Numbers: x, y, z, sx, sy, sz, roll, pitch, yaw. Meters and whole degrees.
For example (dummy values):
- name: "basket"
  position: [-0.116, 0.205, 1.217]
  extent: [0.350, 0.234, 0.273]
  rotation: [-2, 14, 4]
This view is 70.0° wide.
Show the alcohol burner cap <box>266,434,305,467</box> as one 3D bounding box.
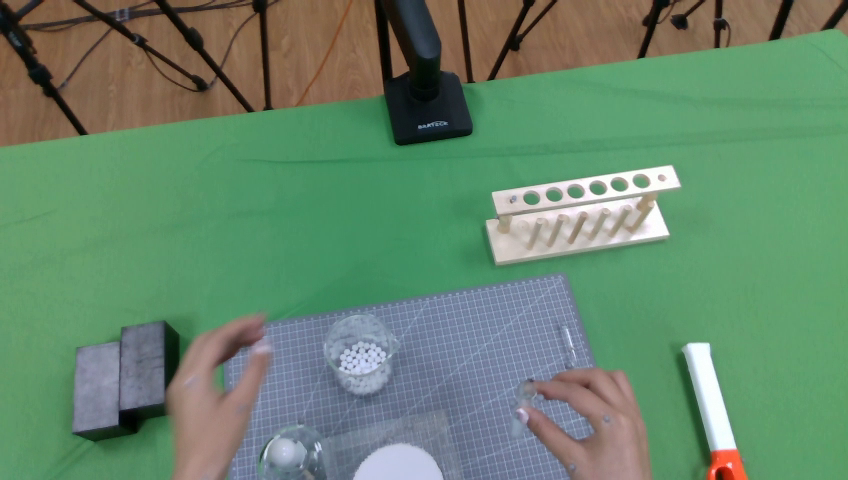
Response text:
- name: "alcohol burner cap"
  position: [-0.141, 0.211, 0.611]
  extent: [0.034, 0.048, 0.033]
  rotation: [-1, 69, 4]

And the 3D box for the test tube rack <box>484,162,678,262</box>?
- name: "test tube rack"
  position: [0.208, -0.036, 0.805]
  extent: [0.243, 0.086, 0.066]
  rotation: [-9, 63, -6]

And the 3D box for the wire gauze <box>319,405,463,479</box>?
- name: "wire gauze"
  position: [-0.027, 0.225, 0.561]
  extent: [0.125, 0.011, 0.120]
  rotation: [-12, 63, -7]

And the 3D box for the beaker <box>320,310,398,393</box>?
- name: "beaker"
  position: [-0.072, 0.132, 0.702]
  extent: [0.084, 0.101, 0.073]
  rotation: [-1, 63, -2]

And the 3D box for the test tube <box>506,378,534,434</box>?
- name: "test tube"
  position: [0.086, 0.155, 0.554]
  extent: [0.017, 0.151, 0.017]
  rotation: [-2, 60, 3]

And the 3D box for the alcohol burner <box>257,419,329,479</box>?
- name: "alcohol burner"
  position: [-0.142, 0.227, 0.644]
  extent: [0.078, 0.120, 0.077]
  rotation: [0, 61, 0]

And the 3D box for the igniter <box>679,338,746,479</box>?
- name: "igniter"
  position: [0.343, 0.248, 0.698]
  extent: [0.057, 0.025, 0.274]
  rotation: [2, 63, -12]

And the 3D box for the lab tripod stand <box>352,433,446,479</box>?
- name: "lab tripod stand"
  position: [-0.026, 0.259, 0.620]
  extent: [0.148, 0.132, 0.147]
  rotation: [0, 62, 1]

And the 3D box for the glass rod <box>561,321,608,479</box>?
- name: "glass rod"
  position: [0.192, 0.193, 0.729]
  extent: [0.008, 0.008, 0.198]
  rotation: [-8, 66, -6]
